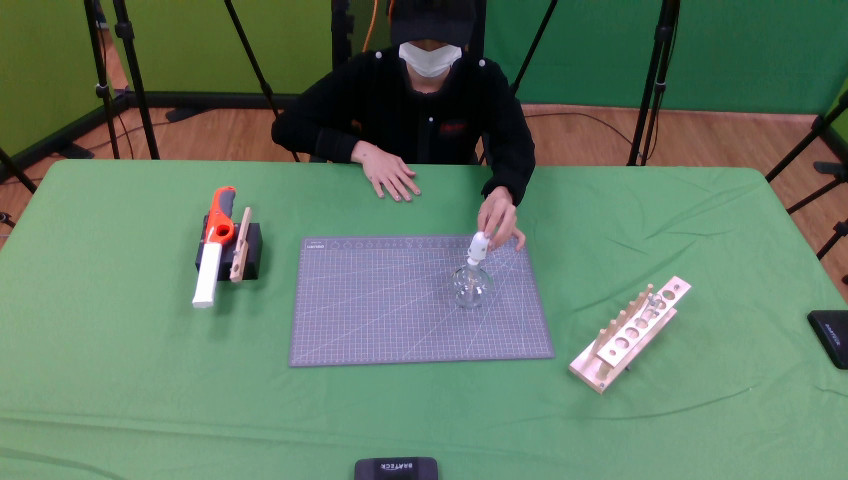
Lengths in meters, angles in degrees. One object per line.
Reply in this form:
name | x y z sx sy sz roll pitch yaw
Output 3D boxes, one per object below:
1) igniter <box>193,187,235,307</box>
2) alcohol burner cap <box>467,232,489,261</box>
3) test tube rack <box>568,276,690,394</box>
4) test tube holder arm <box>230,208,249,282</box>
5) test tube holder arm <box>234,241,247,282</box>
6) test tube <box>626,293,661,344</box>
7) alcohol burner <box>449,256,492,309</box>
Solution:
igniter | -0.378 0.003 1.096 0.057 0.025 0.274 -1 49 -6
alcohol burner cap | 0.092 0.008 1.014 0.034 0.048 0.033 8 40 -7
test tube rack | 0.353 0.149 1.039 0.242 0.085 0.066 -34 56 -31
test tube holder arm | -0.335 0.006 1.103 0.013 0.015 0.177 -7 46 -2
test tube holder arm | -0.324 0.037 1.072 0.010 0.015 0.087 -6 46 -2
test tube | 0.355 0.133 0.984 0.017 0.151 0.017 1 52 0
alcohol burner | 0.083 0.066 1.074 0.078 0.120 0.077 1 44 -1
